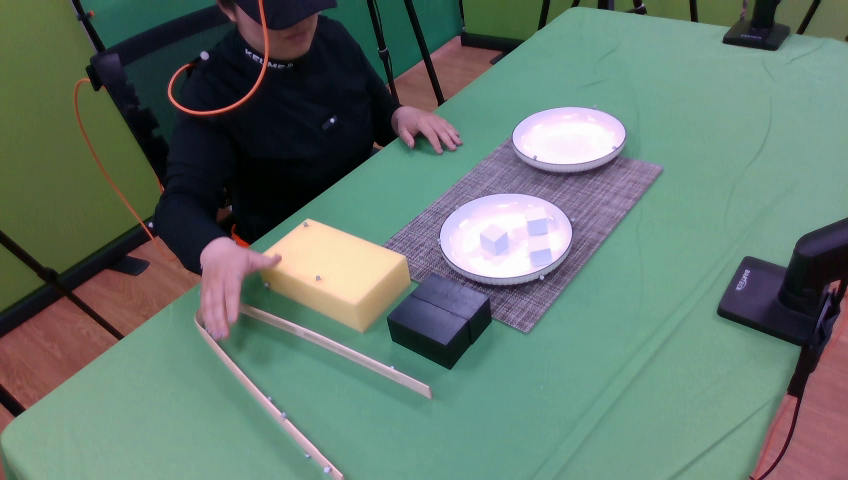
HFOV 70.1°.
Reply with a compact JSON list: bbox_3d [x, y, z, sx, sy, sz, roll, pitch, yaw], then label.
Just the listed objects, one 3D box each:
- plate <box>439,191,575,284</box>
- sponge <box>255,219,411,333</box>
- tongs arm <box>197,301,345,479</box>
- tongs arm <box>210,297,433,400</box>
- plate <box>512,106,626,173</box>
[{"bbox_3d":[0.129,-0.001,0.942,0.207,0.039,0.206,-5,40,5],"label":"plate"},{"bbox_3d":[-0.139,0.048,0.922,0.205,0.061,0.118,19,47,30],"label":"sponge"},{"bbox_3d":[-0.206,0.185,0.791,0.381,0.026,0.051,28,51,37],"label":"tongs arm"},{"bbox_3d":[-0.153,0.143,0.837,0.385,0.028,0.028,17,49,28],"label":"tongs arm"},{"bbox_3d":[0.269,-0.185,1.132,0.209,0.038,0.208,-5,40,5],"label":"plate"}]
